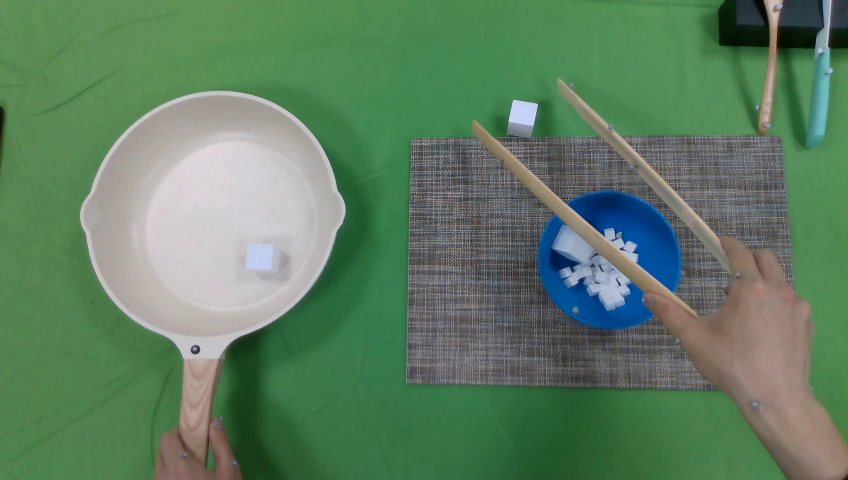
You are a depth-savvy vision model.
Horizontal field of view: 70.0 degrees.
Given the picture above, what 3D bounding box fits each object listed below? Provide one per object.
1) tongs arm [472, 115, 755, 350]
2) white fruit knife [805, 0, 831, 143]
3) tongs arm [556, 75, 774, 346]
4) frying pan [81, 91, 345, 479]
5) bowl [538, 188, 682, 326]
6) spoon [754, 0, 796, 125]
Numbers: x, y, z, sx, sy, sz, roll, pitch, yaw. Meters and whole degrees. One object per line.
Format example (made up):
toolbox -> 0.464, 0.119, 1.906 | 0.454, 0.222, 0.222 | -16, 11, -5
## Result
tongs arm -> 0.156, -0.027, 0.601 | 0.028, 0.028, 0.383 | -28, 49, -14
white fruit knife -> 0.464, -0.219, 0.708 | 0.016, 0.027, 0.207 | 1, 95, -1
tongs arm -> 0.213, -0.056, 0.608 | 0.051, 0.027, 0.380 | -24, 49, -6
frying pan -> -0.242, 0.071, 0.688 | 0.307, 0.103, 0.484 | 0, 72, 4
bowl -> 0.200, 0.023, 0.680 | 0.151, 0.077, 0.151 | 0, 80, 3
spoon -> 0.409, -0.233, 0.708 | 0.041, 0.022, 0.194 | 12, 103, 27
